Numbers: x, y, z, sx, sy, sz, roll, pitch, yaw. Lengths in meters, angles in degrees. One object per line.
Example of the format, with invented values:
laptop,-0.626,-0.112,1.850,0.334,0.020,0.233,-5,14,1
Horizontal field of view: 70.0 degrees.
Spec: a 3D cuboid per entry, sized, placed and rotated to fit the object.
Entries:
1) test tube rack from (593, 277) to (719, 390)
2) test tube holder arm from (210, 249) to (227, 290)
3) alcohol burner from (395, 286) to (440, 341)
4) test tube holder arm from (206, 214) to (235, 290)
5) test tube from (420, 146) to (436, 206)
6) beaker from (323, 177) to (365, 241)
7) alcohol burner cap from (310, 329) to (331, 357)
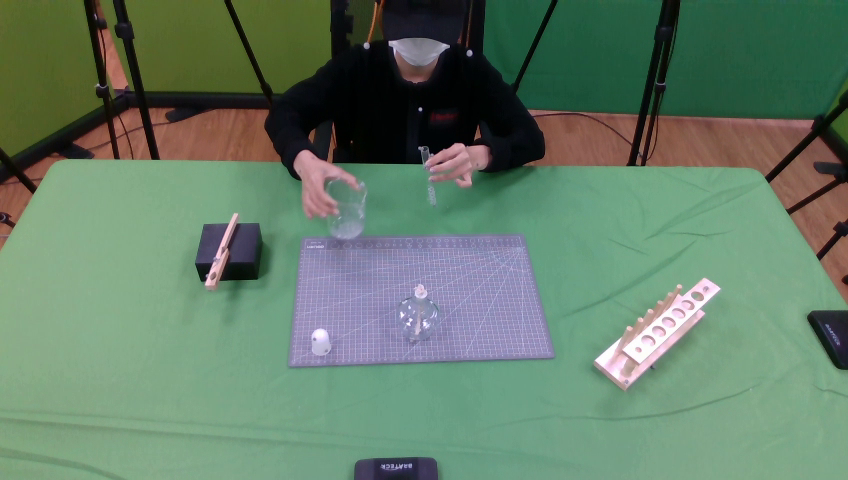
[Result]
test tube rack,0.401,0.148,1.043,0.242,0.085,0.066,-30,55,-29
test tube holder arm,-0.359,0.050,1.059,0.010,0.015,0.087,8,45,-8
alcohol burner,-0.010,0.116,1.018,0.078,0.119,0.077,3,47,-3
test tube holder arm,-0.364,0.017,1.090,0.013,0.015,0.177,7,45,-8
test tube,0.009,-0.120,1.171,0.017,0.151,0.017,-4,49,5
beaker,-0.146,-0.053,1.126,0.074,0.101,0.083,-32,58,-33
alcohol burner cap,-0.173,0.168,1.005,0.034,0.048,0.033,2,46,-2
